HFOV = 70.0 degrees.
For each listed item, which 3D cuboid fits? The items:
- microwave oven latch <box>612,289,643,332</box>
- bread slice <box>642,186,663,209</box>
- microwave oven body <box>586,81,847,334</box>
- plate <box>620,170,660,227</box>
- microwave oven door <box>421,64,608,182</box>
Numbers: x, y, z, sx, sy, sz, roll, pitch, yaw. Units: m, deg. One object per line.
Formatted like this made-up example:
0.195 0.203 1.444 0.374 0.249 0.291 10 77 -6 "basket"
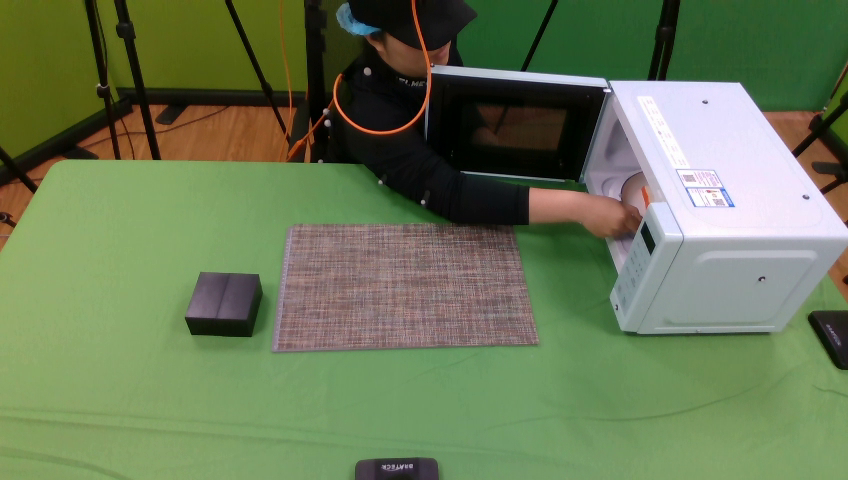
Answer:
0.357 0.124 1.068 0.030 0.029 0.078 0 45 -3 "microwave oven latch"
0.493 -0.059 1.194 0.105 0.019 0.131 6 46 2 "bread slice"
0.501 -0.070 1.132 0.326 0.261 0.438 -1 45 -3 "microwave oven body"
0.490 -0.060 1.193 0.209 0.038 0.208 3 45 -2 "plate"
0.177 -0.239 1.266 0.356 0.245 0.039 5 46 1 "microwave oven door"
